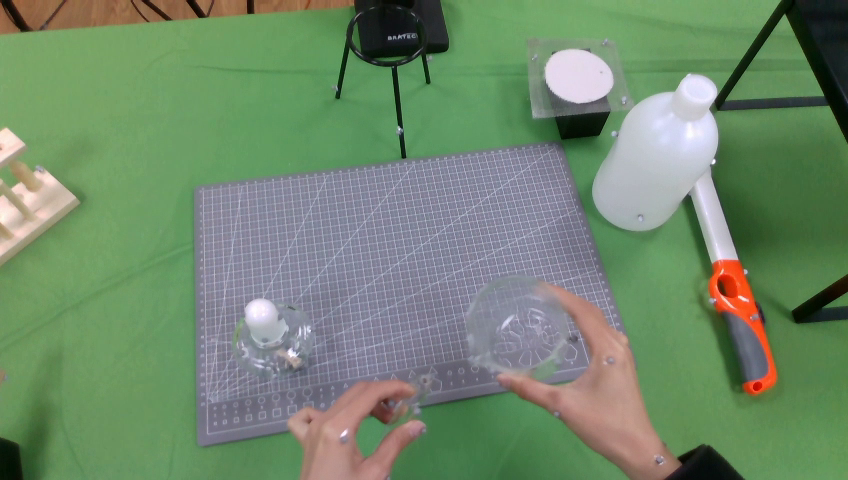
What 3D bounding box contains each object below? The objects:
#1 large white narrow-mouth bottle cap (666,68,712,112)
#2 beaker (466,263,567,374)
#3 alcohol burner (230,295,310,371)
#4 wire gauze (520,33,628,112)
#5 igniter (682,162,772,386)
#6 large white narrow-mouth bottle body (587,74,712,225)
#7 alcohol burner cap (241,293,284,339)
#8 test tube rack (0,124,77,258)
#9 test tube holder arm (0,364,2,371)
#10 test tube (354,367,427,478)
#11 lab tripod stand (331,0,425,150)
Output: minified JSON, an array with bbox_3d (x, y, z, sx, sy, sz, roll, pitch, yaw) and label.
[{"bbox_3d":[0.250,-0.142,0.574,0.038,0.024,0.037,1,63,-2],"label":"large white narrow-mouth bottle cap"},{"bbox_3d":[0.076,0.071,0.492,0.084,0.101,0.073,-40,68,-1],"label":"beaker"},{"bbox_3d":[-0.150,0.083,0.581,0.078,0.120,0.077,2,62,-3],"label":"alcohol burner"},{"bbox_3d":[0.183,-0.211,0.750,0.121,0.011,0.124,-1,63,-3],"label":"wire gauze"},{"bbox_3d":[0.335,0.027,0.684,0.057,0.025,0.274,2,63,-13],"label":"igniter"},{"bbox_3d":[0.247,-0.102,0.650,0.102,0.196,0.101,1,63,-2],"label":"large white narrow-mouth bottle body"},{"bbox_3d":[-0.149,0.067,0.549,0.034,0.048,0.033,0,58,1],"label":"alcohol burner cap"},{"bbox_3d":[-0.501,-0.004,0.626,0.066,0.086,0.242,37,68,15],"label":"test tube rack"},{"bbox_3d":[-0.405,0.192,0.519,0.013,0.015,0.177,1,63,7],"label":"test tube holder arm"},{"bbox_3d":[-0.031,0.154,0.495,0.017,0.151,0.017,16,38,-13],"label":"test tube"},{"bbox_3d":[-0.046,-0.202,0.720,0.148,0.132,0.147,2,64,-4],"label":"lab tripod stand"}]
